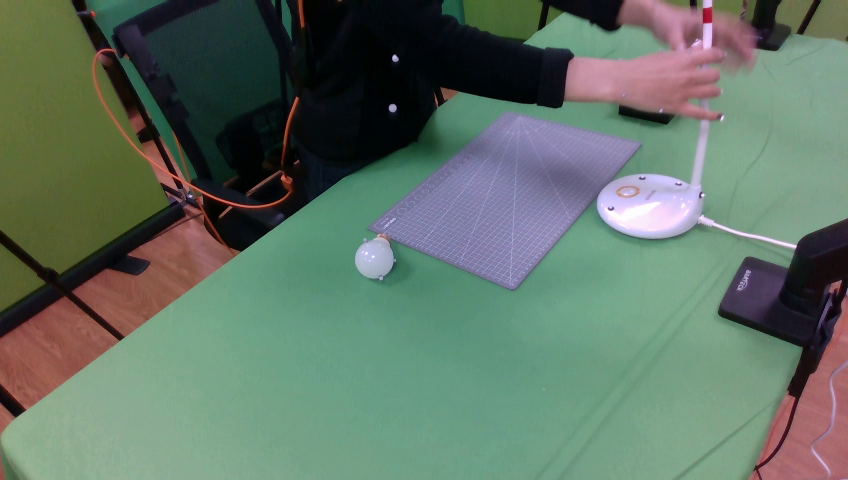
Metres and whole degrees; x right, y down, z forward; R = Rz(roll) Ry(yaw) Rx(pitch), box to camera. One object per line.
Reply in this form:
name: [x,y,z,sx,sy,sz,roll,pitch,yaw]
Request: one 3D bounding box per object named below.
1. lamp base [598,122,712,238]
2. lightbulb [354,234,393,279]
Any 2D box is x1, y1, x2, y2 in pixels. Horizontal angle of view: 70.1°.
lamp base: [0.365,-0.113,0.924,0.178,0.181,0.161,19,48,25]
lightbulb: [-0.074,0.020,0.952,0.059,0.060,0.107,-2,25,9]
